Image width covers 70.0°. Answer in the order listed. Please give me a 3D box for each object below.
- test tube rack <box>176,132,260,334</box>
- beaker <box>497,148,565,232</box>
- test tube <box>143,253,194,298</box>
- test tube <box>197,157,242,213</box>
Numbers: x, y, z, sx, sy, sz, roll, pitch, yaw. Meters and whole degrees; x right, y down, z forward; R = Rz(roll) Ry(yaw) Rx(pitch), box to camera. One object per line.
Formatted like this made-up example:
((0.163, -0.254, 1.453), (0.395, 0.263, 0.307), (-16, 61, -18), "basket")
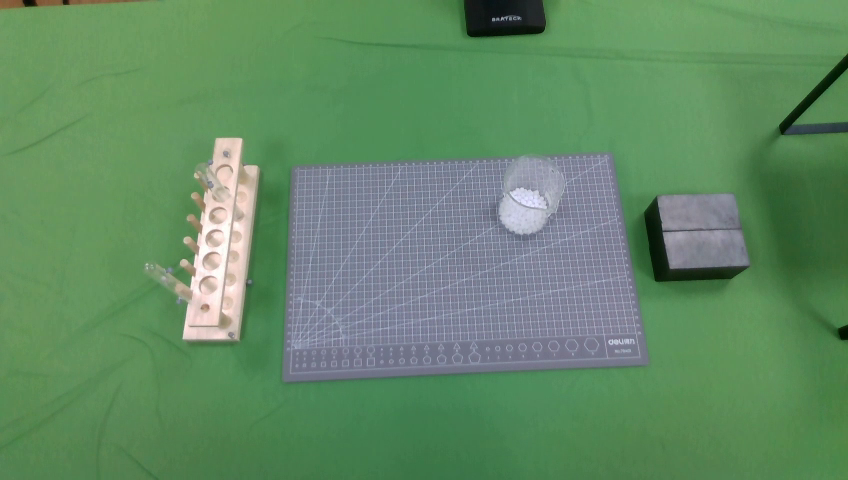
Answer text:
((-0.262, -0.010, 0.761), (0.067, 0.086, 0.240), (1, 69, 0), "test tube rack")
((0.134, -0.057, 0.770), (0.074, 0.101, 0.083), (-30, 73, -11), "beaker")
((-0.284, 0.044, 0.692), (0.017, 0.151, 0.017), (0, 70, 0), "test tube")
((-0.243, -0.063, 0.729), (0.017, 0.151, 0.017), (1, 73, -3), "test tube")
